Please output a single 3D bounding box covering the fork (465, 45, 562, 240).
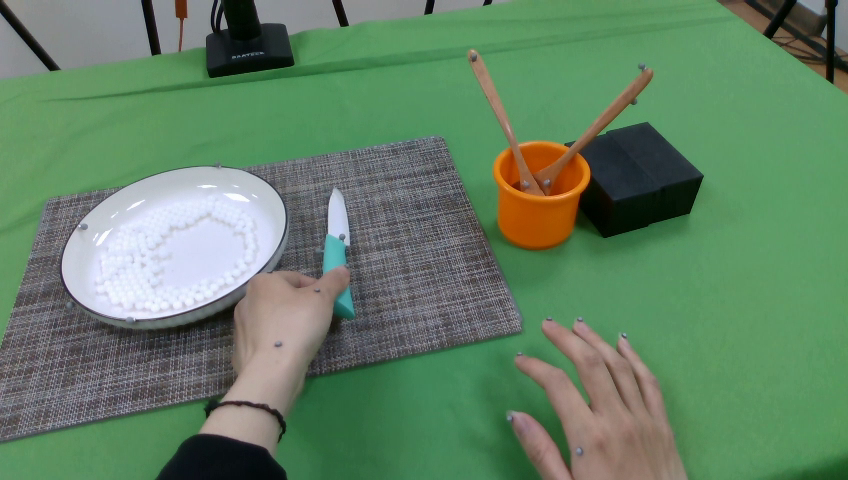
[{"bbox_3d":[0.085,-0.097,0.596,0.028,0.018,0.207,-24,93,-5],"label":"fork"}]

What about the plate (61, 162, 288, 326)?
[{"bbox_3d":[-0.233,0.002,0.587,0.209,0.038,0.207,-1,45,2],"label":"plate"}]

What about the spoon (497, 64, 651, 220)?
[{"bbox_3d":[0.143,-0.092,0.584,0.041,0.194,0.021,46,24,5],"label":"spoon"}]

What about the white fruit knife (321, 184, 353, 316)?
[{"bbox_3d":[-0.086,0.000,0.586,0.027,0.016,0.205,14,32,-18],"label":"white fruit knife"}]
